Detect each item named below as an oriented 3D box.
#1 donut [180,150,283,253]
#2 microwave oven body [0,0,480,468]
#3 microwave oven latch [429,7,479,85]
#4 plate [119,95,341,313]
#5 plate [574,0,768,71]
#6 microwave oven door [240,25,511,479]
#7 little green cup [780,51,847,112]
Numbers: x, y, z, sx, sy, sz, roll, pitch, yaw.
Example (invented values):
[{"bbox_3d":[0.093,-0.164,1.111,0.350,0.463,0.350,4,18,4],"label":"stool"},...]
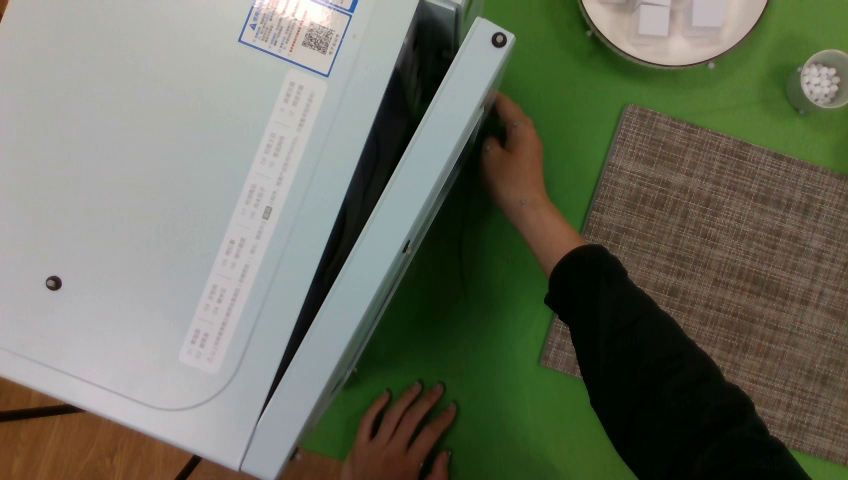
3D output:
[{"bbox_3d":[-0.183,-0.035,0.578,0.099,0.048,0.099,0,91,3],"label":"donut"},{"bbox_3d":[-0.174,-0.093,0.539,0.326,0.260,0.441,21,92,0],"label":"microwave oven body"},{"bbox_3d":[0.031,-0.204,0.630,0.030,0.029,0.079,24,92,0],"label":"microwave oven latch"},{"bbox_3d":[-0.184,-0.034,0.591,0.209,0.038,0.209,0,92,0],"label":"plate"},{"bbox_3d":[0.258,-0.281,0.645,0.208,0.039,0.207,0,91,1],"label":"plate"},{"bbox_3d":[-0.035,0.010,0.534,0.039,0.244,0.355,28,91,1],"label":"microwave oven door"},{"bbox_3d":[0.414,-0.165,0.644,0.061,0.038,0.061,0,90,1],"label":"little green cup"}]
